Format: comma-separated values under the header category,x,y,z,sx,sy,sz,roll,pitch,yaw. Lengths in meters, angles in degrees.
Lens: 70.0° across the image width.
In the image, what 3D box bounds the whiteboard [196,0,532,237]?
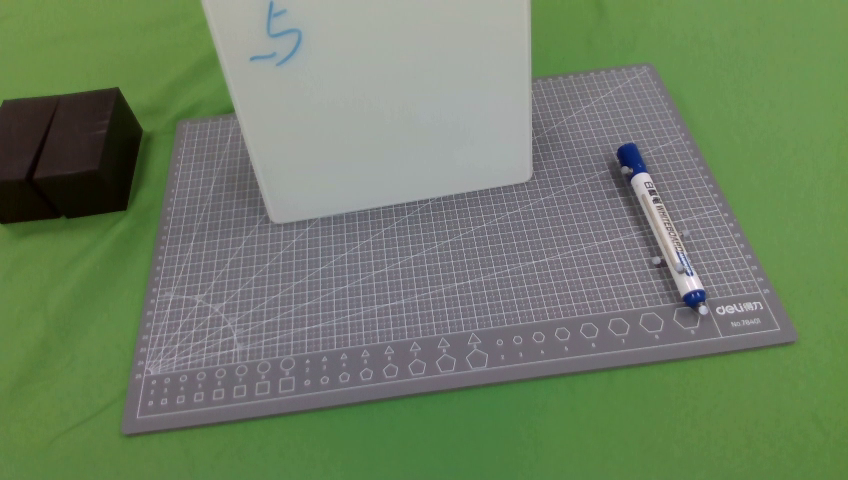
category,x,y,z,sx,sy,sz,roll,pitch,yaw
whiteboard,-0.043,-0.184,0.460,0.217,0.308,0.142,-9,34,-2

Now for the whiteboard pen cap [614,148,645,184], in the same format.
category,x,y,z,sx,sy,sz,roll,pitch,yaw
whiteboard pen cap,0.166,-0.057,0.488,0.018,0.018,0.033,-8,56,-2

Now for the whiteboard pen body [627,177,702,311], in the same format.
category,x,y,z,sx,sy,sz,roll,pitch,yaw
whiteboard pen body,0.175,-0.010,0.454,0.017,0.017,0.139,-9,55,-3
